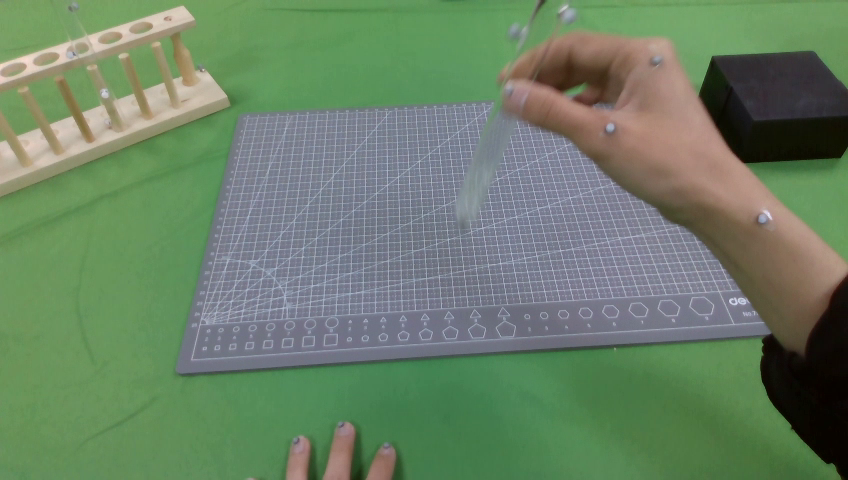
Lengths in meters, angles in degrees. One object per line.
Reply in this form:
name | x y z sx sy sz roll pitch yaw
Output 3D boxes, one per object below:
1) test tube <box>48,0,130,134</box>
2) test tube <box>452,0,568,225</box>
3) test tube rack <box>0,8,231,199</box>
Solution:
test tube | -0.299 -0.158 0.541 0.017 0.152 0.017 -1 48 1
test tube | 0.043 -0.069 0.320 0.017 0.151 0.017 13 36 -10
test tube rack | -0.321 -0.132 0.578 0.242 0.086 0.066 -28 53 -21
